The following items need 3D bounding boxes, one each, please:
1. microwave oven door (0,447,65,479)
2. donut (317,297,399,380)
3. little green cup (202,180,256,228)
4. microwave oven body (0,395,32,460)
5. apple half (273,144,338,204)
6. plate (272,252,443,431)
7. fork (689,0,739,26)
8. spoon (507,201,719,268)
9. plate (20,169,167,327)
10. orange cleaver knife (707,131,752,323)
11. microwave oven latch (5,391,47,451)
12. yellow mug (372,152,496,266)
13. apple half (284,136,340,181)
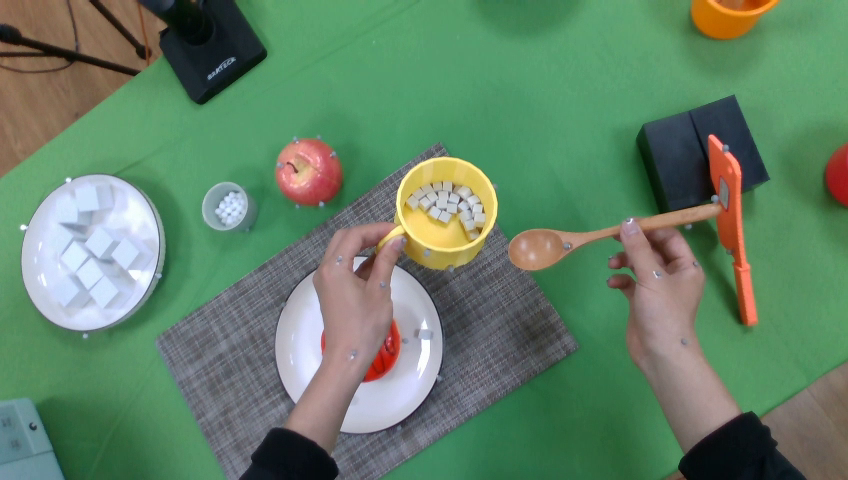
[{"bbox_3d":[-0.428,0.408,0.636,0.039,0.245,0.354,-31,79,5],"label":"microwave oven door"},{"bbox_3d":[-0.078,0.116,0.714,0.099,0.048,0.099,-1,86,11],"label":"donut"},{"bbox_3d":[-0.248,-0.043,0.778,0.061,0.039,0.061,-1,83,11],"label":"little green cup"},{"bbox_3d":[-0.572,0.448,0.662,0.326,0.261,0.439,-31,80,5],"label":"microwave oven body"},{"bbox_3d":[-0.151,-0.074,0.747,0.080,0.075,0.053,36,95,9],"label":"apple half"},{"bbox_3d":[-0.078,0.119,0.725,0.209,0.038,0.208,-1,84,10],"label":"plate"},{"bbox_3d":[0.375,-0.300,0.638,0.207,0.019,0.028,-36,71,49],"label":"fork"},{"bbox_3d":[0.172,-0.009,0.566,0.193,0.022,0.041,-13,75,22],"label":"spoon"},{"bbox_3d":[-0.433,0.011,0.805,0.207,0.039,0.207,-1,83,10],"label":"plate"},{"bbox_3d":[0.324,-0.011,0.646,0.012,0.076,0.213,-15,113,10],"label":"orange cleaver knife"},{"bbox_3d":[-0.516,0.234,0.775,0.030,0.029,0.079,-29,80,5],"label":"microwave oven latch"},{"bbox_3d":[0.005,-0.022,0.609,0.131,0.064,0.099,-31,78,-12],"label":"yellow mug"},{"bbox_3d":[-0.129,-0.106,0.745,0.081,0.081,0.033,36,94,13],"label":"apple half"}]
